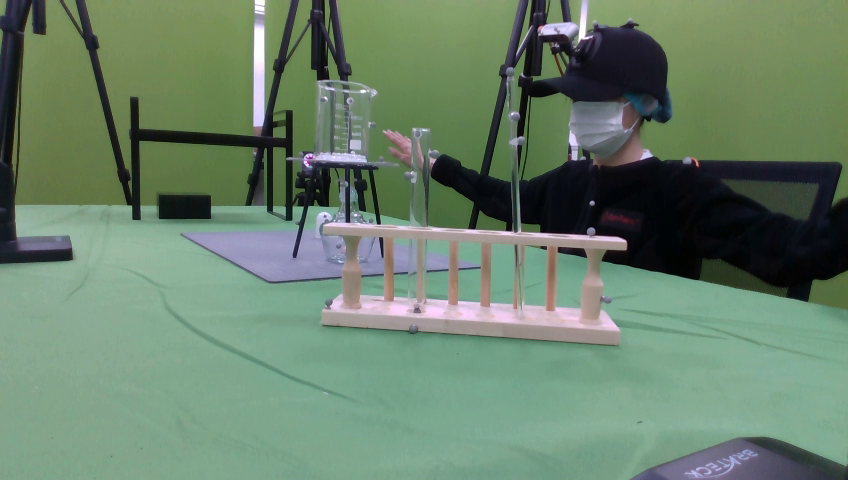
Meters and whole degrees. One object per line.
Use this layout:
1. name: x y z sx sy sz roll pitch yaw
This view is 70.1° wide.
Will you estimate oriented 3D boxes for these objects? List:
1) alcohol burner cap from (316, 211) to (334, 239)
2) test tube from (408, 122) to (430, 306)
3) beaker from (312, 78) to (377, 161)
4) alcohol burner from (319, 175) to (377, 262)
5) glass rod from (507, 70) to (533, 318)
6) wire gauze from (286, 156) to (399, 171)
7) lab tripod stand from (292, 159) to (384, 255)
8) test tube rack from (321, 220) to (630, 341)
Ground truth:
1. alcohol burner cap: -0.171 -0.027 1.048 0.034 0.048 0.034 2 8 0
2. test tube: -0.004 -0.019 0.489 0.017 0.150 0.017 1 11 0
3. beaker: -0.103 -0.151 0.775 0.084 0.100 0.074 5 6 14
4. alcohol burner: -0.101 -0.030 0.807 0.078 0.119 0.078 0 7 0
5. glass rod: 0.076 -0.031 0.476 0.008 0.199 0.008 -6 12 2
6. wire gauze: -0.101 -0.103 0.788 0.121 0.011 0.125 5 4 6
7. lab tripod stand: -0.105 -0.039 0.797 0.148 0.131 0.148 2 5 0
8. test tube rack: 0.041 0.029 0.512 0.242 0.085 0.067 3 7 5
